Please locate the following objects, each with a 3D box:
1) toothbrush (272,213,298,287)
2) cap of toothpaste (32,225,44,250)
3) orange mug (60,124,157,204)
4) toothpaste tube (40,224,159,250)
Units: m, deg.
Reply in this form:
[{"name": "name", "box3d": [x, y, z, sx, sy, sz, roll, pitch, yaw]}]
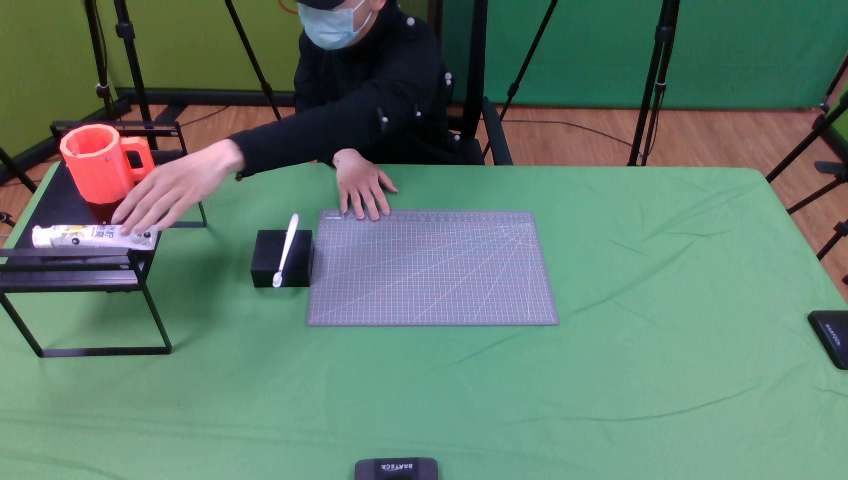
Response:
[{"name": "toothbrush", "box3d": [-0.252, 0.013, 1.104, 0.014, 0.017, 0.180, 2, 46, 2]}, {"name": "cap of toothpaste", "box3d": [-0.569, -0.005, 0.898, 0.011, 0.037, 0.037, -1, 46, -12]}, {"name": "orange mug", "box3d": [-0.505, -0.127, 0.980, 0.126, 0.101, 0.083, -13, 48, -10]}, {"name": "toothpaste tube", "box3d": [-0.491, -0.004, 0.913, 0.165, 0.034, 0.054, -2, 50, -12]}]
